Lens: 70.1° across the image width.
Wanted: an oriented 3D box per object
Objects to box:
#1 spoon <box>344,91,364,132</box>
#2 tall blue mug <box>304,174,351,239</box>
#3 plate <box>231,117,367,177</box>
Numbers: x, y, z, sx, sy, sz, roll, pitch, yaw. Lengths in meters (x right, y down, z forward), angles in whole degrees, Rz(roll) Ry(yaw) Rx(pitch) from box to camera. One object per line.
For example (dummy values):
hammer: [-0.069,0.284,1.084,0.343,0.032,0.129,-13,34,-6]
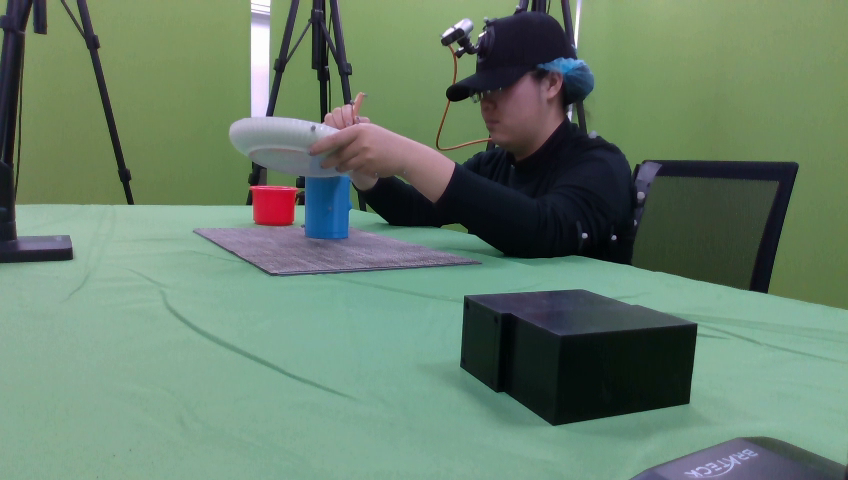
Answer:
spoon: [-0.138,-0.197,1.068,0.041,0.022,0.193,2,50,18]
tall blue mug: [-0.178,-0.062,1.062,0.078,0.108,0.106,-5,10,-38]
plate: [-0.193,-0.135,0.938,0.208,0.039,0.207,5,-9,1]
